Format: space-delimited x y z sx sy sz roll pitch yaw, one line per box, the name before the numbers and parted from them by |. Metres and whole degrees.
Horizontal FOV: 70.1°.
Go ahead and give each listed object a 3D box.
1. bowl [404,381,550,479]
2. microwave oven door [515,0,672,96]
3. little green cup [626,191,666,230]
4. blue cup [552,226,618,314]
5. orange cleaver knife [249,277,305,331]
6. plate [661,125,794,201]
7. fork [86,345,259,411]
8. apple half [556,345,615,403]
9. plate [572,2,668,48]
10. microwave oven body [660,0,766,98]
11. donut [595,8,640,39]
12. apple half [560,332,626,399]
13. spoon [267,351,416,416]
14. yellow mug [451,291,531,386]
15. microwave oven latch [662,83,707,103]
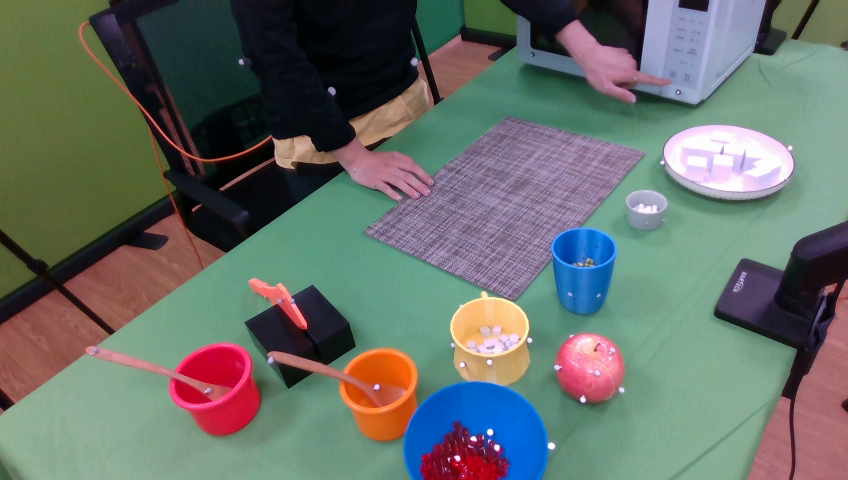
bowl | 0.058 0.235 0.645 0.151 0.077 0.150 -4 39 4
microwave oven door | 0.343 -0.455 1.259 0.353 0.245 0.039 25 51 33
little green cup | 0.352 -0.046 0.963 0.061 0.039 0.061 -4 40 4
blue cup | 0.218 0.047 0.826 0.092 0.101 0.092 -6 40 5
orange cleaver knife | -0.210 0.088 0.855 0.012 0.077 0.210 -28 15 -25
plate | 0.513 -0.128 1.035 0.207 0.039 0.206 -4 40 4
fork | -0.298 0.166 0.728 0.209 0.018 0.028 28 46 -23
apple half | 0.181 0.167 0.709 0.080 0.081 0.033 29 50 35
plate | 0.441 -0.483 1.367 0.209 0.038 0.208 -4 41 4
microwave oven body | 0.472 -0.513 1.317 0.438 0.261 0.327 26 51 34
donut | 0.436 -0.488 1.359 0.099 0.048 0.098 -11 34 9
apple half | 0.209 0.147 0.730 0.080 0.075 0.053 26 48 38
spoon | -0.091 0.162 0.699 0.021 0.195 0.041 -45 30 27
yellow mug | 0.085 0.120 0.786 0.100 0.064 0.130 -7 39 1
microwave oven latch | 0.517 -0.296 1.204 0.078 0.029 0.030 27 52 35
